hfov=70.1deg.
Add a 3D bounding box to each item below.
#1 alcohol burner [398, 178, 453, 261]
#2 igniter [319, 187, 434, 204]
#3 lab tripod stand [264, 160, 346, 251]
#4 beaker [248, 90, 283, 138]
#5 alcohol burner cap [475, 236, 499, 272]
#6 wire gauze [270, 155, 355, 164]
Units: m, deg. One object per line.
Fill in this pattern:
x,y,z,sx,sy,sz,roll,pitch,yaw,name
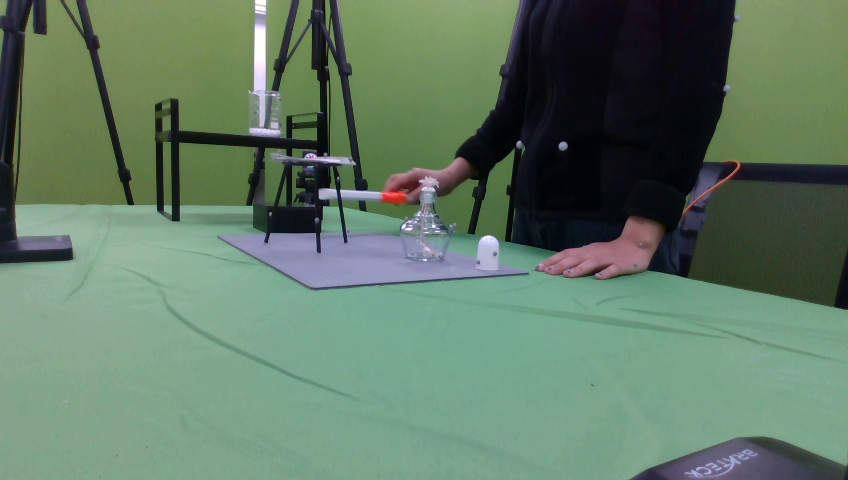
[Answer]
0.003,-0.029,0.860,0.078,0.119,0.078,4,7,0,alcohol burner
-0.088,-0.086,1.173,0.278,0.025,0.057,-1,1,-45,igniter
-0.178,-0.057,0.930,0.148,0.131,0.148,1,8,0,lab tripod stand
-0.354,-0.278,1.340,0.074,0.100,0.084,6,9,26,beaker
0.084,0.018,0.799,0.034,0.048,0.034,2,6,0,alcohol burner cap
-0.174,-0.123,0.925,0.125,0.011,0.121,0,8,-12,wire gauze
